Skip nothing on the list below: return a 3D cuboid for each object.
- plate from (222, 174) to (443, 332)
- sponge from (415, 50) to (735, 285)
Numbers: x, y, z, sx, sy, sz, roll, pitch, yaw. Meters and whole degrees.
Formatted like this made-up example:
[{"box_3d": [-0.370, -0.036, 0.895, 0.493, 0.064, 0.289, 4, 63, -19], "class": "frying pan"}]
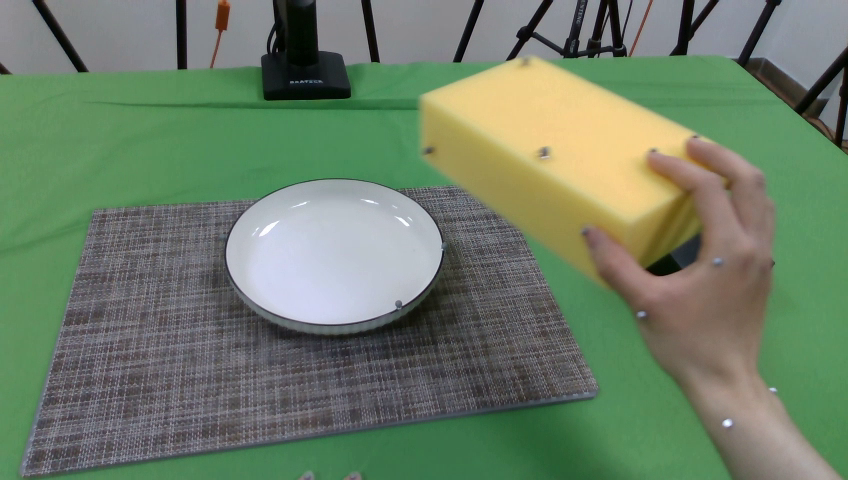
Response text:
[{"box_3d": [-0.087, 0.012, 0.592, 0.208, 0.039, 0.205, 4, 43, -3], "class": "plate"}, {"box_3d": [0.102, -0.067, 0.460, 0.118, 0.061, 0.204, -29, 49, -28], "class": "sponge"}]
